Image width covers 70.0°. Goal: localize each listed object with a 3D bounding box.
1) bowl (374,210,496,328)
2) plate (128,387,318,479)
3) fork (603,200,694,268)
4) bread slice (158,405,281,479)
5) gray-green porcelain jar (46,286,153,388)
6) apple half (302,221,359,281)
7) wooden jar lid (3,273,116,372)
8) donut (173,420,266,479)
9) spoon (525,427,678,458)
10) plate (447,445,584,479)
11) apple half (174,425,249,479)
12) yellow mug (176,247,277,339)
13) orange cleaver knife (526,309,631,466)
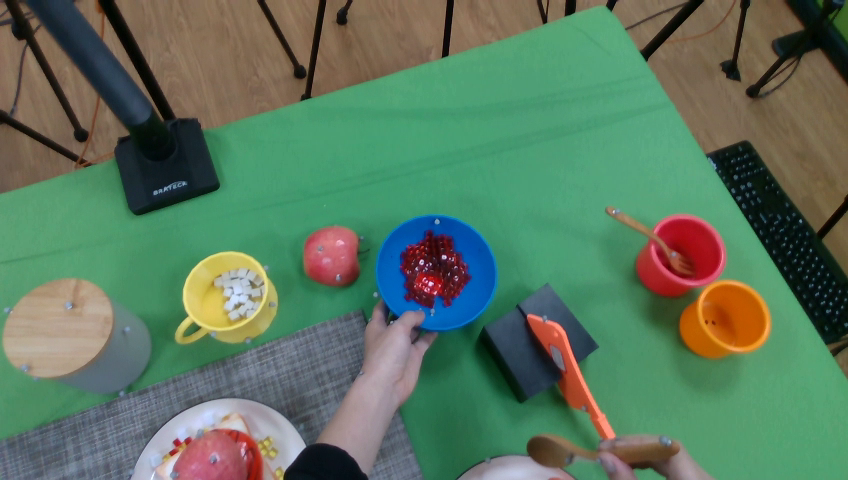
[{"bbox_3d":[0.010,0.046,0.763,0.152,0.077,0.150,3,68,-7],"label":"bowl"},{"bbox_3d":[-0.223,0.274,0.685,0.208,0.039,0.206,1,69,-3],"label":"plate"},{"bbox_3d":[0.289,-0.006,0.769,0.209,0.018,0.028,28,61,-37],"label":"fork"},{"bbox_3d":[-0.218,0.271,0.688,0.107,0.018,0.133,-37,74,-15],"label":"bread slice"},{"bbox_3d":[-0.382,0.111,0.697,0.106,0.127,0.105,1,68,-2],"label":"gray-green porcelain jar"},{"bbox_3d":[-0.123,0.009,0.791,0.075,0.054,0.080,1,69,0],"label":"apple half"},{"bbox_3d":[-0.380,0.088,0.637,0.108,0.021,0.107,2,66,-4],"label":"wooden jar lid"},{"bbox_3d":[-0.224,0.248,0.665,0.099,0.048,0.098,1,69,-2],"label":"donut"},{"bbox_3d":[0.140,0.169,0.501,0.041,0.194,0.021,43,65,-3],"label":"spoon"},{"bbox_3d":[0.104,0.341,0.682,0.209,0.038,0.207,1,68,-3],"label":"plate"},{"bbox_3d":[-0.225,0.235,0.632,0.081,0.033,0.080,-2,68,4],"label":"apple half"},{"bbox_3d":[-0.251,0.076,0.751,0.131,0.064,0.099,-42,76,-16],"label":"yellow mug"},{"bbox_3d":[0.183,0.175,0.728,0.012,0.077,0.211,-30,95,-21],"label":"orange cleaver knife"}]
